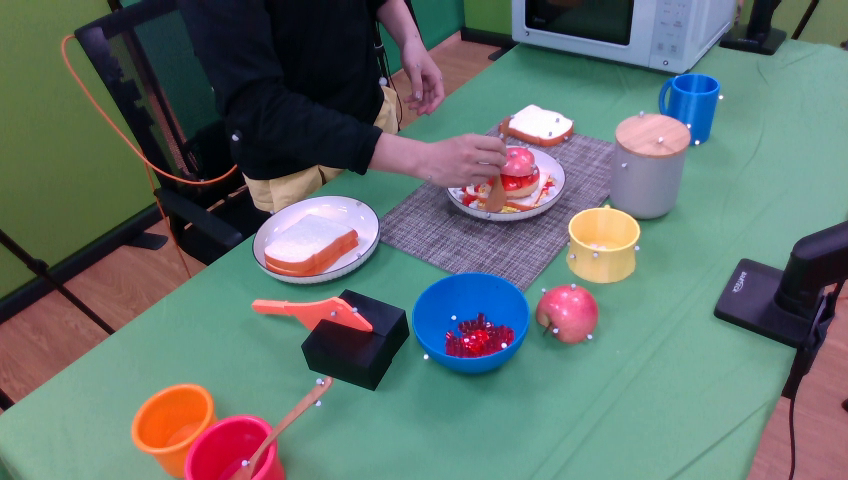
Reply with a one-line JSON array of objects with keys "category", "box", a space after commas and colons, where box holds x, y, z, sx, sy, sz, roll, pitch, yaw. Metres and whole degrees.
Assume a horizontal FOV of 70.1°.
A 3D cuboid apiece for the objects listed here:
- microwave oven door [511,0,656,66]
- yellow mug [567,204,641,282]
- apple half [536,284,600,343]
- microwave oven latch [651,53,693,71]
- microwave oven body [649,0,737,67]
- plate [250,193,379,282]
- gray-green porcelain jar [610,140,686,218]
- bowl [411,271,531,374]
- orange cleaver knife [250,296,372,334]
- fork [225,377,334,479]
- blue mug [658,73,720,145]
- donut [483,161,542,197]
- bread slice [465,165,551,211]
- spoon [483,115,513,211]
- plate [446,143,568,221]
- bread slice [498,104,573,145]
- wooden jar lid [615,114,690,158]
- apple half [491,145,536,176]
[{"category": "microwave oven door", "box": [0.350, -0.539, 1.348, 0.353, 0.245, 0.039, 24, 50, 31]}, {"category": "yellow mug", "box": [0.268, -0.005, 0.904, 0.099, 0.064, 0.130, 6, 42, 15]}, {"category": "apple half", "box": [0.196, 0.091, 0.815, 0.075, 0.053, 0.080, -22, 42, -20]}, {"category": "microwave oven latch", "box": [0.532, -0.386, 1.301, 0.078, 0.029, 0.030, 27, 52, 34]}, {"category": "microwave oven body", "box": [0.475, -0.602, 1.411, 0.438, 0.261, 0.327, 23, 50, 32]}, {"category": "plate", "box": [-0.174, -0.001, 0.984, 0.209, 0.038, 0.208, -3, 40, 3]}, {"category": "gray-green porcelain jar", "box": [0.354, -0.106, 0.964, 0.106, 0.127, 0.105, -4, 41, 4]}, {"category": "bowl", "box": [0.062, 0.119, 0.780, 0.151, 0.077, 0.150, -4, 40, 4]}, {"category": "orange cleaver knife", "box": [-0.159, 0.103, 0.828, 0.210, 0.078, 0.012, -4, 43, 39]}, {"category": "fork", "box": [-0.163, 0.216, 0.646, 0.207, 0.019, 0.028, -49, 42, 16]}, {"category": "blue mug", "box": [0.483, -0.250, 1.127, 0.082, 0.106, 0.115, -26, 44, -19]}, {"category": "donut", "box": [0.149, -0.109, 1.016, 0.099, 0.048, 0.098, -4, 40, 4]}, {"category": "bread slice", "box": [0.140, -0.091, 1.042, 0.133, 0.018, 0.107, 12, 43, 19]}, {"category": "spoon", "box": [0.117, -0.114, 0.937, 0.042, 0.194, 0.021, -15, 47, -15]}, {"category": "plate", "box": [0.142, -0.097, 1.045, 0.207, 0.039, 0.206, -4, 41, 4]}, {"category": "bread slice", "box": [0.231, -0.231, 1.205, 0.105, 0.019, 0.130, -36, 47, -28]}, {"category": "wooden jar lid", "box": [0.347, -0.155, 0.923, 0.108, 0.021, 0.108, -3, 44, 4]}, {"category": "apple half", "box": [0.147, -0.138, 0.994, 0.081, 0.033, 0.081, 1, 37, 0]}]
